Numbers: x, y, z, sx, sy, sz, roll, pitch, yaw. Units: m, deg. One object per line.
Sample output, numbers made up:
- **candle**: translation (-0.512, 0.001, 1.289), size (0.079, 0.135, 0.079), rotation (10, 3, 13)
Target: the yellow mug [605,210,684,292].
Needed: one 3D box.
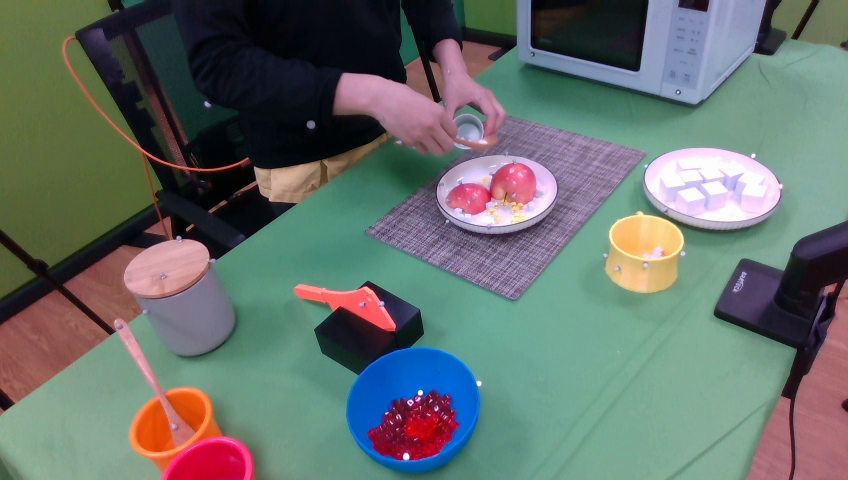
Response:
- **yellow mug**: translation (0.318, 0.007, 0.883), size (0.100, 0.064, 0.130), rotation (1, 41, 8)

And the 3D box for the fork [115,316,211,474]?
- **fork**: translation (-0.308, 0.179, 0.708), size (0.028, 0.018, 0.207), rotation (-30, 89, -22)

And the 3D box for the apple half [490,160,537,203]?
- **apple half**: translation (0.154, -0.106, 1.030), size (0.080, 0.053, 0.075), rotation (22, 46, 31)

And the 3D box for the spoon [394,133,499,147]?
- **spoon**: translation (0.037, -0.158, 0.941), size (0.195, 0.021, 0.041), rotation (-4, 21, -33)

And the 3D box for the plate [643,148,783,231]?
- **plate**: translation (0.464, -0.080, 0.986), size (0.207, 0.039, 0.206), rotation (-4, 41, 4)

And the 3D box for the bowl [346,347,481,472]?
- **bowl**: translation (-0.008, 0.205, 0.691), size (0.151, 0.077, 0.150), rotation (-4, 40, 4)

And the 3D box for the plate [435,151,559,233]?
- **plate**: translation (0.124, -0.078, 1.026), size (0.209, 0.038, 0.208), rotation (-4, 40, 4)

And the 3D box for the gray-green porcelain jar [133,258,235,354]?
- **gray-green porcelain jar**: translation (-0.327, 0.086, 0.836), size (0.106, 0.127, 0.105), rotation (-4, 41, 4)

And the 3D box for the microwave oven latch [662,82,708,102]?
- **microwave oven latch**: translation (0.518, -0.298, 1.202), size (0.078, 0.029, 0.030), rotation (28, 53, 35)

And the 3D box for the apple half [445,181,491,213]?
- **apple half**: translation (0.077, -0.083, 1.029), size (0.081, 0.033, 0.081), rotation (-2, 42, 2)

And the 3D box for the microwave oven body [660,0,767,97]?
- **microwave oven body**: translation (0.474, -0.517, 1.313), size (0.438, 0.261, 0.327), rotation (26, 51, 34)

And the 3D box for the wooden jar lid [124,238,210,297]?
- **wooden jar lid**: translation (-0.335, 0.039, 0.794), size (0.108, 0.021, 0.108), rotation (-2, 40, 2)

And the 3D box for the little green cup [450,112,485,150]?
- **little green cup**: translation (0.074, -0.187, 1.049), size (0.061, 0.038, 0.061), rotation (0, 81, 0)

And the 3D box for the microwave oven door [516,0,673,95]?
- **microwave oven door**: translation (0.344, -0.458, 1.256), size (0.353, 0.245, 0.039), rotation (26, 51, 33)

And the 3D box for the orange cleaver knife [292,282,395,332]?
- **orange cleaver knife**: translation (-0.116, 0.091, 0.835), size (0.209, 0.077, 0.012), rotation (2, 32, 48)
